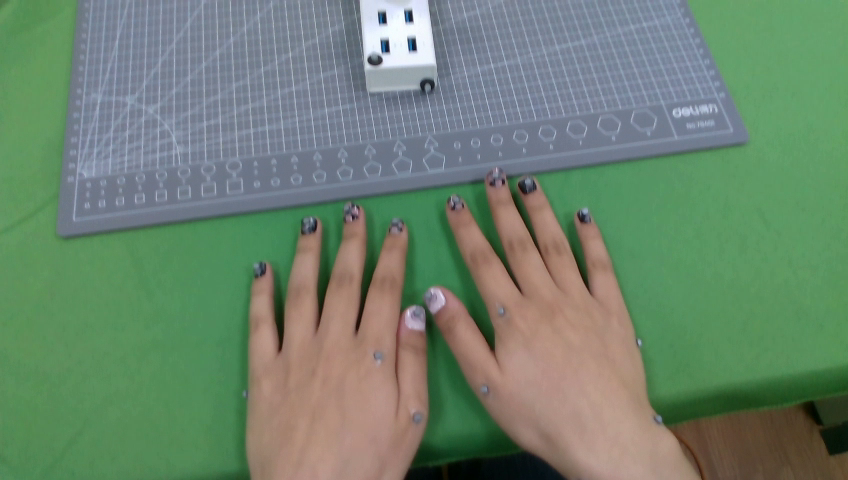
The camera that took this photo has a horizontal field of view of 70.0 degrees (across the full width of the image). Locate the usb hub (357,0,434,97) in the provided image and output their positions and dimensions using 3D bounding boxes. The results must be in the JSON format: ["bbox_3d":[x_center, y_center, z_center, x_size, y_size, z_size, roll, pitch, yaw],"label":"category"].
[{"bbox_3d":[-0.023,-0.160,0.436,0.049,0.025,0.124,-5,64,-3],"label":"usb hub"}]

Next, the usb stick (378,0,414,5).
[{"bbox_3d":[-0.020,-0.180,0.414,0.027,0.059,0.021,-8,64,-2],"label":"usb stick"}]
